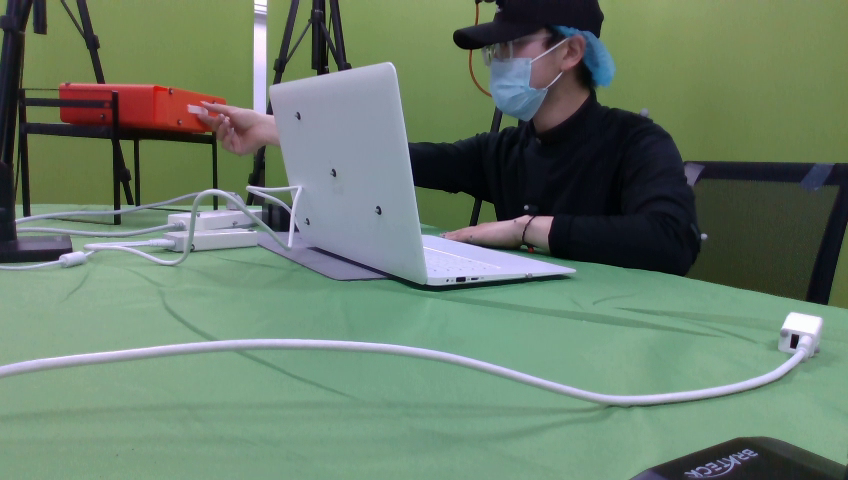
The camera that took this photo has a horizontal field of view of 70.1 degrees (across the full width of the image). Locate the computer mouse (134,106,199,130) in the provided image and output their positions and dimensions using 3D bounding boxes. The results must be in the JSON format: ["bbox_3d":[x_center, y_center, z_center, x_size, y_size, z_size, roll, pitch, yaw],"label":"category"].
[{"bbox_3d":[-0.517,-0.245,1.216,0.118,0.041,0.062,2,3,-39],"label":"computer mouse"}]

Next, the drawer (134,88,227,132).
[{"bbox_3d":[-0.542,-0.260,1.222,0.211,0.073,0.195,3,8,13],"label":"drawer"}]

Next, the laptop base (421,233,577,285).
[{"bbox_3d":[0.007,0.022,0.850,0.237,0.023,0.352,1,7,-34],"label":"laptop base"}]

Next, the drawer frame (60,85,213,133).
[{"bbox_3d":[-0.570,-0.263,1.226,0.213,0.082,0.202,3,8,12],"label":"drawer frame"}]

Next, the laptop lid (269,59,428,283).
[{"bbox_3d":[-0.110,-0.087,0.752,0.013,0.241,0.355,-18,19,-30],"label":"laptop lid"}]

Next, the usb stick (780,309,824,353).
[{"bbox_3d":[0.311,0.072,0.496,0.027,0.021,0.059,7,15,34],"label":"usb stick"}]

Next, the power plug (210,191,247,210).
[{"bbox_3d":[-0.386,-0.070,1.204,0.072,0.052,0.035,8,10,25],"label":"power plug"}]

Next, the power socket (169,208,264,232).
[{"bbox_3d":[-0.380,-0.038,1.128,0.072,0.032,0.227,4,8,17],"label":"power socket"}]

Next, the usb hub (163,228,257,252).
[{"bbox_3d":[-0.314,0.000,0.894,0.049,0.025,0.126,9,10,41],"label":"usb hub"}]
